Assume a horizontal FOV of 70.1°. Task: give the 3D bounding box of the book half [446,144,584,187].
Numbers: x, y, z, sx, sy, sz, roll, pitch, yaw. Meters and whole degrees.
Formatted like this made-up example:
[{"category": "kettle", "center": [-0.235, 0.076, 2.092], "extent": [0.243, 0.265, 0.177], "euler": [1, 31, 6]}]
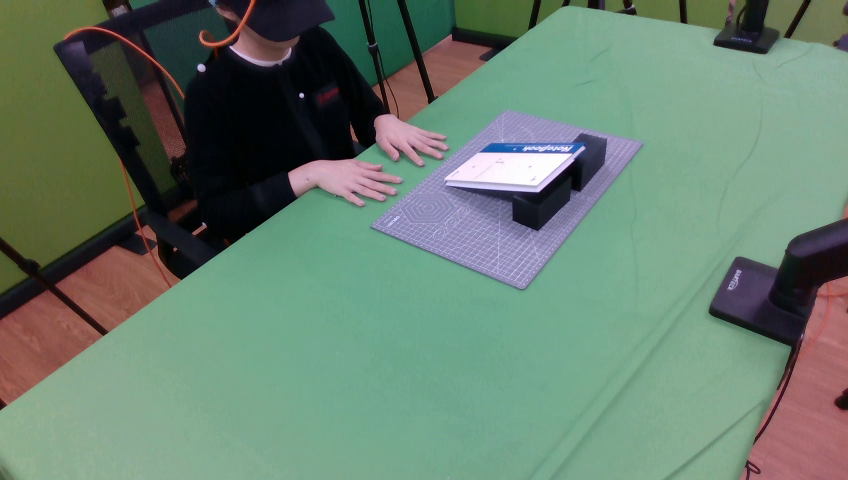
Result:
[{"category": "book half", "center": [0.154, -0.134, 1.056], "extent": [0.208, 0.007, 0.143], "euler": [10, 40, 46]}]
